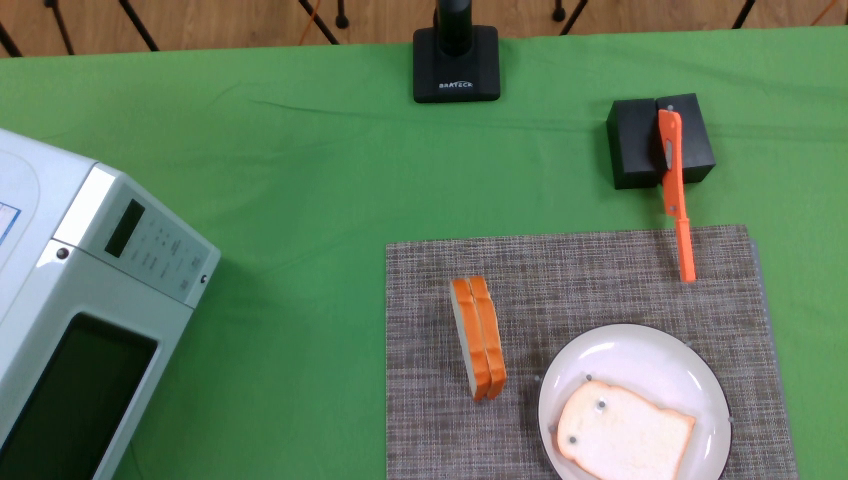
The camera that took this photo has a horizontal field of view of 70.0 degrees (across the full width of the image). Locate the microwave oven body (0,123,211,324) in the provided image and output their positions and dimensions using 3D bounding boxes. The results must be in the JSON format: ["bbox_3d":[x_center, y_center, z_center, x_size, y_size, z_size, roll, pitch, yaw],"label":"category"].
[{"bbox_3d":[-0.487,0.113,0.625,0.325,0.262,0.440,19,75,9],"label":"microwave oven body"}]

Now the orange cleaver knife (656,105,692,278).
[{"bbox_3d":[0.298,-0.062,0.730,0.012,0.077,0.211,-6,92,4],"label":"orange cleaver knife"}]

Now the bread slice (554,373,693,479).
[{"bbox_3d":[0.212,0.210,0.664,0.134,0.018,0.106,21,71,12],"label":"bread slice"}]

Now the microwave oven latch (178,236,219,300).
[{"bbox_3d":[-0.280,0.032,0.740,0.030,0.030,0.079,20,75,9],"label":"microwave oven latch"}]

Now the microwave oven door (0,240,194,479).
[{"bbox_3d":[-0.366,0.194,0.585,0.039,0.245,0.354,18,74,10],"label":"microwave oven door"}]

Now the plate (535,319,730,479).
[{"bbox_3d":[0.226,0.193,0.671,0.207,0.039,0.206,-1,72,3],"label":"plate"}]
